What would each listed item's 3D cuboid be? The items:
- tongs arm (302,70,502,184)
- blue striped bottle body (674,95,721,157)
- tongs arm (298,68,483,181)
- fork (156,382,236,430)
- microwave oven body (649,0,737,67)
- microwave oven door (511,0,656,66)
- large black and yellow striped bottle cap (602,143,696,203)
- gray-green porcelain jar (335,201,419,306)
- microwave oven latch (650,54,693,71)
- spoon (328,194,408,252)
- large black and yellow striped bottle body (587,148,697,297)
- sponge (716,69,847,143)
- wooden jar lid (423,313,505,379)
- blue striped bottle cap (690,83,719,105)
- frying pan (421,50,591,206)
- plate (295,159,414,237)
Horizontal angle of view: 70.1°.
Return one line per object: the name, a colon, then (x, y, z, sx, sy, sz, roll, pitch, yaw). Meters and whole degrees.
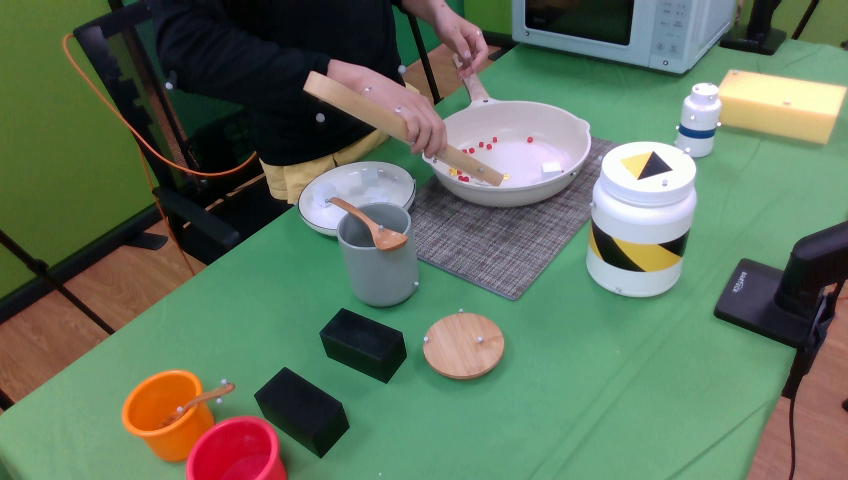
tongs arm: (-0.007, -0.148, 0.873, 0.391, 0.028, 0.028, 20, 12, -44)
blue striped bottle body: (0.486, -0.213, 1.071, 0.063, 0.121, 0.063, -4, 41, 4)
tongs arm: (-0.021, -0.156, 0.890, 0.388, 0.026, 0.050, 20, 8, -40)
fork: (-0.262, 0.189, 0.690, 0.018, 0.206, 0.028, 49, 43, -7)
microwave oven body: (0.475, -0.602, 1.411, 0.438, 0.261, 0.327, 23, 50, 32)
microwave oven door: (0.350, -0.539, 1.349, 0.353, 0.245, 0.039, 24, 50, 31)
large black and yellow striped bottle cap: (0.289, -0.088, 0.779, 0.115, 0.019, 0.114, -5, 39, 4)
gray-green porcelain jar: (-0.064, 0.024, 0.872, 0.106, 0.127, 0.105, -4, 41, 4)
microwave oven latch: (0.531, -0.386, 1.301, 0.078, 0.029, 0.030, 26, 51, 33)
spoon: (-0.083, -0.030, 0.829, 0.042, 0.022, 0.192, -35, 44, -19)
large black and yellow striped bottle body: (0.298, -0.026, 0.835, 0.131, 0.185, 0.130, -4, 41, 4)
sponge: (0.663, -0.256, 1.142, 0.205, 0.061, 0.118, 19, 47, 28)
wooden jar lid: (0.053, 0.142, 0.800, 0.108, 0.021, 0.108, -5, 39, 4)
blue striped bottle cap: (0.481, -0.251, 1.038, 0.044, 0.021, 0.044, -5, 40, 5)
frying pan: (0.127, -0.233, 1.155, 0.307, 0.103, 0.484, -10, 49, -5)
plate: (-0.118, -0.070, 1.055, 0.207, 0.039, 0.206, -5, 40, 5)
